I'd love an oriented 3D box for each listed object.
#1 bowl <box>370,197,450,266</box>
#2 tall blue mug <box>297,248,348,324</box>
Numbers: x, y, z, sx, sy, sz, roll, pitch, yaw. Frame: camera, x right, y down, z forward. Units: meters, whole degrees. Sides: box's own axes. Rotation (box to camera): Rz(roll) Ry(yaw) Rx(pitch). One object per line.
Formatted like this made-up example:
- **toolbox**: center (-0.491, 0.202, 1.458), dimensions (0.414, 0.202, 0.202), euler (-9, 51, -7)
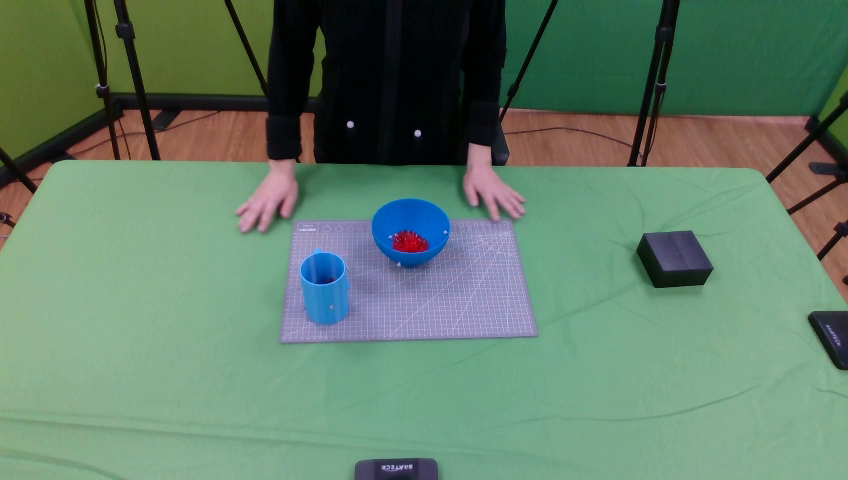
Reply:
- **bowl**: center (-0.028, -0.003, 1.156), dimensions (0.151, 0.077, 0.150), euler (2, 46, -2)
- **tall blue mug**: center (-0.183, 0.074, 1.047), dimensions (0.106, 0.108, 0.078), euler (37, 55, 27)
